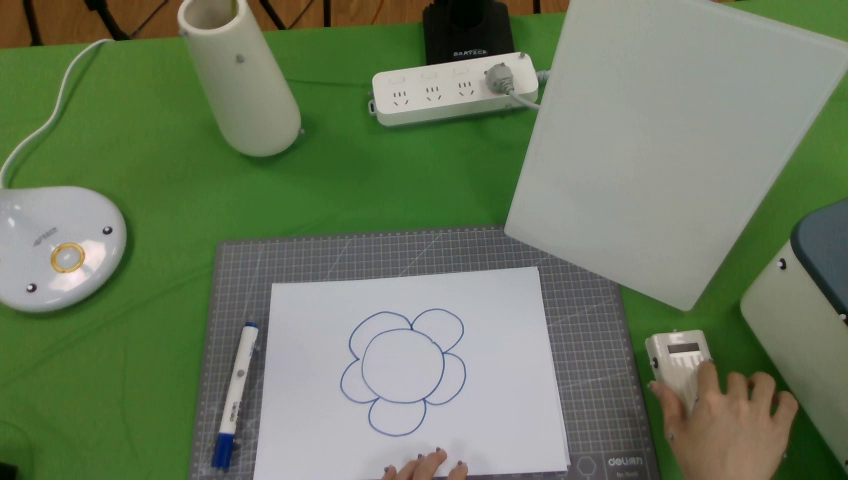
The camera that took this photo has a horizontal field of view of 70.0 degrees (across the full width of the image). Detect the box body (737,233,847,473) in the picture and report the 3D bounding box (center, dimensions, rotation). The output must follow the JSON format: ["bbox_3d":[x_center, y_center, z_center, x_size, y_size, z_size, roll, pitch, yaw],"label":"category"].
[{"bbox_3d":[0.492,0.124,0.529,0.254,0.161,0.360,-20,64,-8],"label":"box body"}]

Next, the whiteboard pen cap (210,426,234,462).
[{"bbox_3d":[-0.196,0.198,0.589,0.018,0.018,0.033,4,65,4],"label":"whiteboard pen cap"}]

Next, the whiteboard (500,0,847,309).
[{"bbox_3d":[0.234,-0.115,0.613,0.216,0.308,0.143,25,46,15],"label":"whiteboard"}]

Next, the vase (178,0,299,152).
[{"bbox_3d":[-0.208,-0.189,0.690,0.098,0.201,0.097,-1,62,3],"label":"vase"}]

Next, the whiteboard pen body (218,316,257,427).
[{"bbox_3d":[-0.191,0.145,0.613,0.017,0.017,0.139,4,65,4],"label":"whiteboard pen body"}]

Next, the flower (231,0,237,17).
[{"bbox_3d":[-0.191,-0.221,0.613,0.038,0.362,0.044,44,62,3],"label":"flower"}]

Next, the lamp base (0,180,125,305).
[{"bbox_3d":[-0.439,-0.041,0.631,0.178,0.182,0.160,26,66,18],"label":"lamp base"}]

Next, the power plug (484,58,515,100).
[{"bbox_3d":[0.092,-0.192,0.750,0.035,0.053,0.072,1,69,2],"label":"power plug"}]

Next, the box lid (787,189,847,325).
[{"bbox_3d":[0.489,0.087,0.463,0.263,0.015,0.368,-20,64,-8],"label":"box lid"}]

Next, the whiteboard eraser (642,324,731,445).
[{"bbox_3d":[0.255,0.140,0.595,0.055,0.042,0.111,-4,62,-3],"label":"whiteboard eraser"}]

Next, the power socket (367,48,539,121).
[{"bbox_3d":[0.038,-0.201,0.781,0.227,0.033,0.071,-8,64,-3],"label":"power socket"}]
